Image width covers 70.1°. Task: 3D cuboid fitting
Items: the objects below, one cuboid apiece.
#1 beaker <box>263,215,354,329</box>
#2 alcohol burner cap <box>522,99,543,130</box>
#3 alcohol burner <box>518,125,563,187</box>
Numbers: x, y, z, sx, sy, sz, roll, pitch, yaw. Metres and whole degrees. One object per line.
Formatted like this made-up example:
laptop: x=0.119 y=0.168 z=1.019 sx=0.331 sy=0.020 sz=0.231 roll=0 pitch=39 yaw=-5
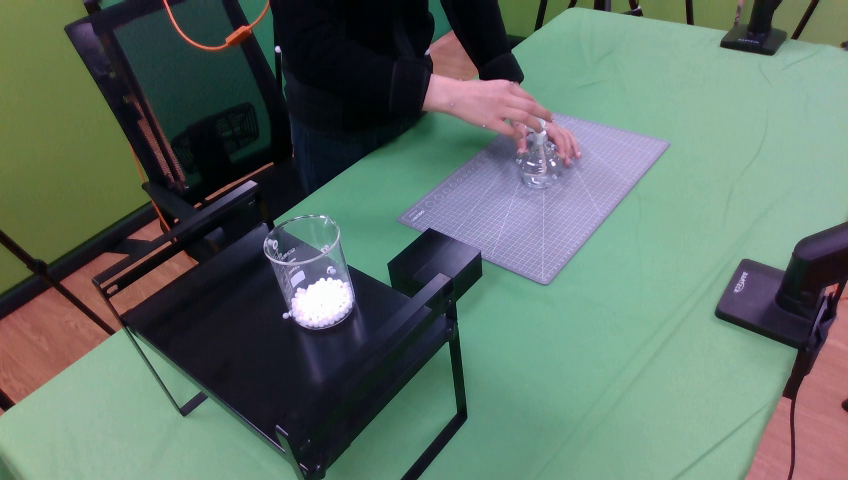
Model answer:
beaker: x=-0.112 y=0.034 z=0.616 sx=0.073 sy=0.101 sz=0.084 roll=13 pitch=44 yaw=22
alcohol burner cap: x=0.175 y=-0.206 z=0.982 sx=0.034 sy=0.048 sz=0.033 roll=-7 pitch=45 yaw=7
alcohol burner: x=0.201 y=-0.151 z=1.046 sx=0.078 sy=0.119 sz=0.077 roll=-6 pitch=42 yaw=6
